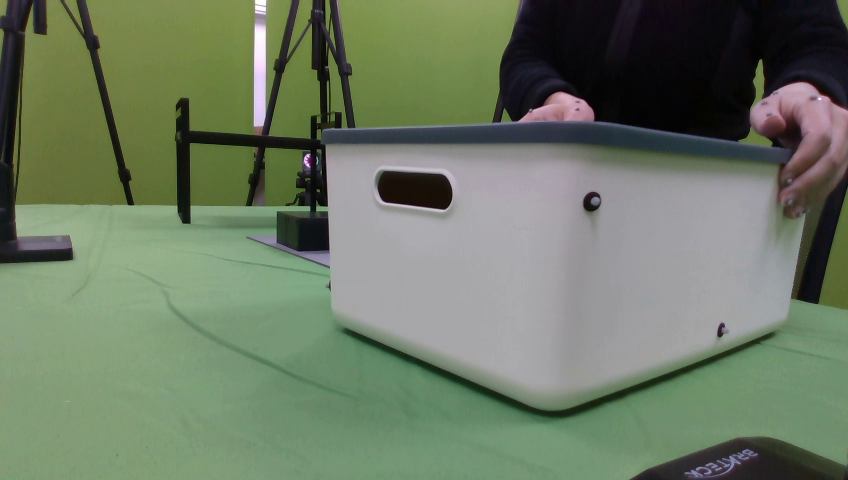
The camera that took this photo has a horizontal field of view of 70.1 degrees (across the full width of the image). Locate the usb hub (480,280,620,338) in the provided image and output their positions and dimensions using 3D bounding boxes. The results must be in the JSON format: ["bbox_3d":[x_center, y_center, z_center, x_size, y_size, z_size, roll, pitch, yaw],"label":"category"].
[{"bbox_3d":[0.111,0.057,0.525,0.126,0.025,0.049,-5,13,-35],"label":"usb hub"}]

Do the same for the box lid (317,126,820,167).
[{"bbox_3d":[0.129,-0.073,0.502,0.374,0.015,0.262,-4,10,-40],"label":"box lid"}]

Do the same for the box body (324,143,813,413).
[{"bbox_3d":[0.125,-0.001,0.510,0.366,0.160,0.253,-4,10,-40],"label":"box body"}]
